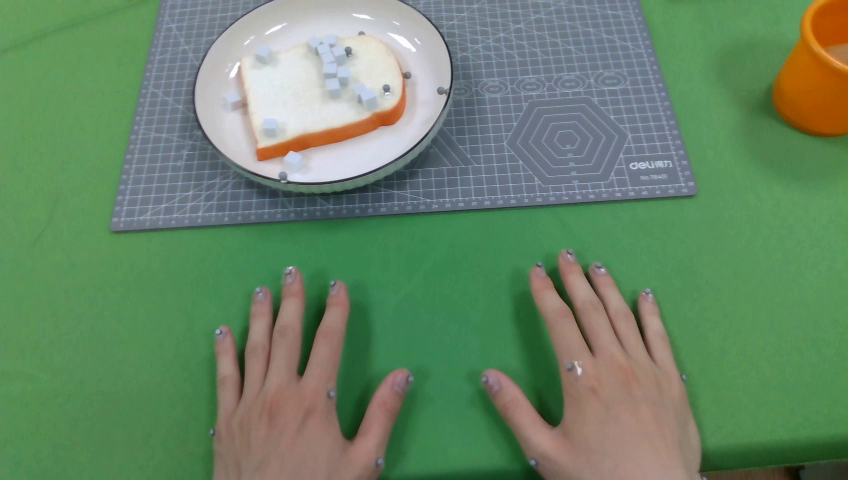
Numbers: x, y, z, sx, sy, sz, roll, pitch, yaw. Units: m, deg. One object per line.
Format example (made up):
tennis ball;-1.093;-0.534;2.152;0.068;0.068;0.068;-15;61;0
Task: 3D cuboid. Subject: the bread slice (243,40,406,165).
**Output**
bread slice;-0.082;-0.123;0.503;0.131;0.019;0.104;-17;63;-5

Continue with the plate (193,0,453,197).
plate;-0.080;-0.119;0.498;0.209;0.038;0.207;-1;62;2

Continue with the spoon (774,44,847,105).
spoon;0.353;-0.153;0.433;0.193;0.022;0.041;-24;51;36
